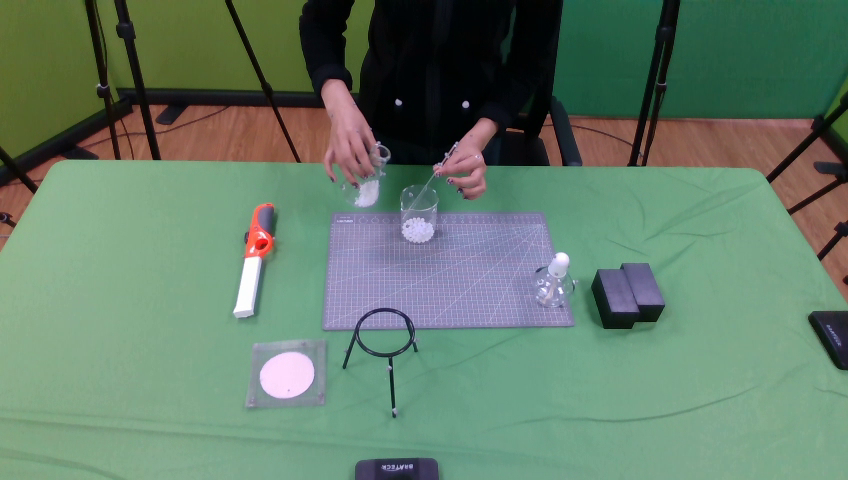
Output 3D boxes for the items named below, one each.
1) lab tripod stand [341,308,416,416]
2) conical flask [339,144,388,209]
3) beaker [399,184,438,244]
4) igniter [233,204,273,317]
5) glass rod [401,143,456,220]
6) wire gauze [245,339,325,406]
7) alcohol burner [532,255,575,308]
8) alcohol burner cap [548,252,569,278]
[{"bbox_3d":[-0.061,0.177,0.946,0.148,0.132,0.147,2,44,-2],"label":"lab tripod stand"},{"bbox_3d":[-0.104,-0.120,1.114,0.075,0.122,0.075,16,47,-18],"label":"conical flask"},{"bbox_3d":[-0.015,-0.046,1.186,0.073,0.101,0.084,36,54,27],"label":"beaker"},{"bbox_3d":[-0.321,0.029,1.142,0.057,0.025,0.274,-8,46,4],"label":"igniter"},{"bbox_3d":[0.005,-0.107,1.146,0.008,0.200,0.008,25,35,-19],"label":"glass rod"},{"bbox_3d":[-0.224,0.214,0.984,0.125,0.011,0.120,-2,46,-5],"label":"wire gauze"},{"bbox_3d":[0.235,0.066,1.087,0.078,0.119,0.077,4,45,-3],"label":"alcohol burner"},{"bbox_3d":[0.238,0.042,1.060,0.034,0.048,0.033,1,53,-1],"label":"alcohol burner cap"}]
